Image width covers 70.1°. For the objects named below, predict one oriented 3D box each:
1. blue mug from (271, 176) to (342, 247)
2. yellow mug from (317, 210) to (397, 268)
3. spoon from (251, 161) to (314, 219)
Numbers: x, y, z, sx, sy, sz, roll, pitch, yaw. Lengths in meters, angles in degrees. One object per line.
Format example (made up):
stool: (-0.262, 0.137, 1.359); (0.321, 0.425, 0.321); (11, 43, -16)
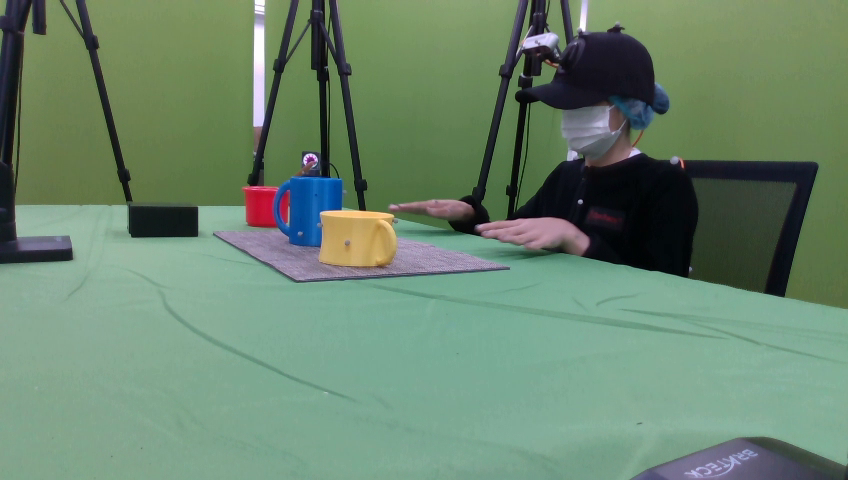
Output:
blue mug: (-0.190, -0.047, 0.963); (0.116, 0.106, 0.082); (4, 7, 13)
yellow mug: (-0.081, -0.001, 0.796); (0.100, 0.064, 0.130); (-4, 11, -45)
spoon: (-0.280, -0.097, 1.194); (0.193, 0.021, 0.042); (-43, -15, 26)
